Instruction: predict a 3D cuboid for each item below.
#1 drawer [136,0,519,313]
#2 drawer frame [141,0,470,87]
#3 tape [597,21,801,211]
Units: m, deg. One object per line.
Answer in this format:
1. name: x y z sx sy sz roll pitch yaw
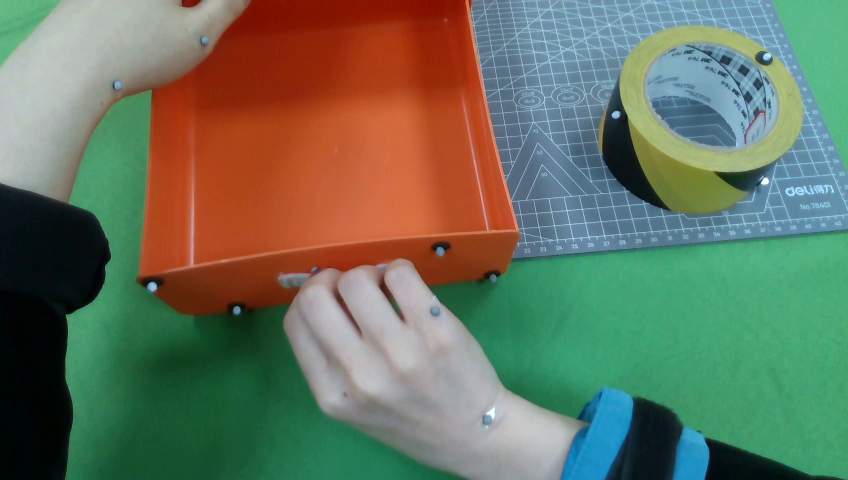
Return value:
1. drawer: -0.060 -0.071 0.371 0.194 0.074 0.210 -7 67 -3
2. drawer frame: -0.084 -0.224 0.435 0.202 0.083 0.211 -9 65 -4
3. tape: 0.172 -0.078 0.387 0.117 0.053 0.116 0 66 0
